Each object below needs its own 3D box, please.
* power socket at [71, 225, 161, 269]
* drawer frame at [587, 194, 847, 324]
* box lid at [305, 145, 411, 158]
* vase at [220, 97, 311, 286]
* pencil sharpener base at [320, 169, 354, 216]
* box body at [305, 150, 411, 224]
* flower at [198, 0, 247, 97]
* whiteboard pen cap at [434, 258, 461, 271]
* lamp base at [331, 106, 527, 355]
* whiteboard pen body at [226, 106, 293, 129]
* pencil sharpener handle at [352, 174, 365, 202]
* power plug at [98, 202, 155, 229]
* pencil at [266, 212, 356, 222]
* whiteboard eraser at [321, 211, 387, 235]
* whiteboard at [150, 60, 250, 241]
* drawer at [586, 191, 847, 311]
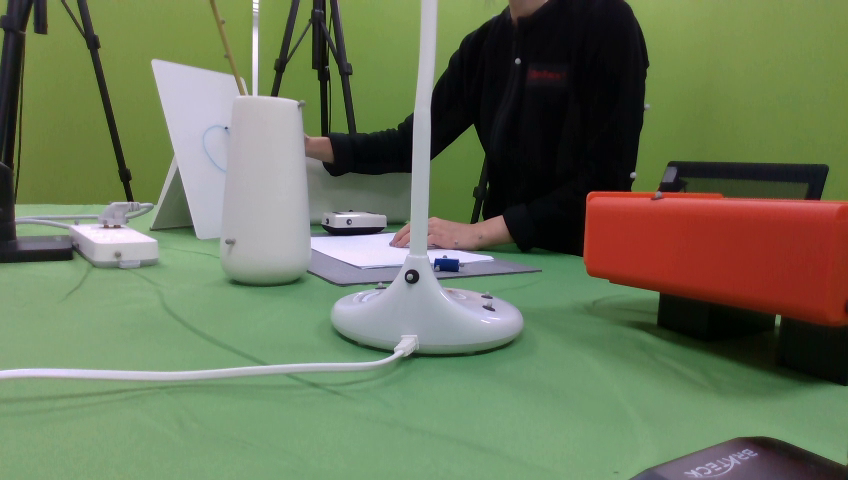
[{"bbox_3d":[-0.408,0.004,0.793,0.072,0.032,0.225,-2,8,-38],"label":"power socket"},{"bbox_3d":[0.285,0.004,0.508,0.203,0.082,0.212,-1,6,-29],"label":"drawer frame"},{"bbox_3d":[-0.228,-0.200,1.361,0.373,0.015,0.262,-1,8,-33],"label":"box lid"},{"bbox_3d":[-0.172,-0.052,0.662,0.098,0.200,0.098,3,8,0],"label":"vase"},{"bbox_3d":[-0.207,-0.113,1.439,0.077,0.107,0.061,2,6,-11],"label":"pencil sharpener base"},{"bbox_3d":[-0.230,-0.126,1.372,0.366,0.160,0.253,-2,9,-33],"label":"box body"},{"bbox_3d":[-0.187,-0.133,0.648,0.038,0.362,0.044,0,21,43],"label":"flower"},{"bbox_3d":[0.029,0.031,0.770,0.033,0.018,0.018,4,8,8],"label":"whiteboard pen cap"},{"bbox_3d":[0.006,-0.012,0.478,0.161,0.180,0.179,2,10,2],"label":"lamp base"},{"bbox_3d":[-0.290,-0.210,1.055,0.140,0.017,0.017,-9,3,22],"label":"whiteboard pen body"},{"bbox_3d":[-0.156,-0.125,1.450,0.031,0.068,0.036,1,19,-11],"label":"pencil sharpener handle"},{"bbox_3d":[-0.416,-0.026,0.848,0.073,0.052,0.035,0,8,-28],"label":"power plug"},{"bbox_3d":[-0.244,-0.049,1.318,0.195,0.012,0.012,4,7,-12],"label":"pencil"},{"bbox_3d":[-0.128,-0.031,1.108,0.113,0.042,0.055,-4,8,-38],"label":"whiteboard eraser"},{"bbox_3d":[-0.408,-0.139,1.093,0.143,0.305,0.218,-15,-1,26],"label":"whiteboard"},{"bbox_3d":[0.281,0.000,0.513,0.195,0.073,0.210,-1,7,-29],"label":"drawer"}]
